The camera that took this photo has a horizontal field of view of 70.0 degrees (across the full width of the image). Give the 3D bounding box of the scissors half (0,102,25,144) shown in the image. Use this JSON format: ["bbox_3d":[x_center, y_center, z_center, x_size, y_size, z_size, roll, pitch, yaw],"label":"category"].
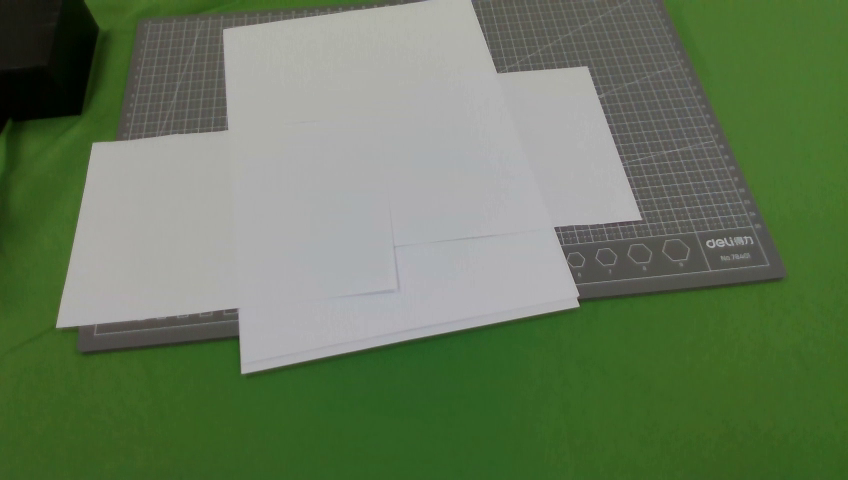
[{"bbox_3d":[-0.307,-0.045,0.421,0.013,0.040,0.173,-9,50,0],"label":"scissors half"}]

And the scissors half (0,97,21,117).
[{"bbox_3d":[-0.308,-0.059,0.408,0.013,0.040,0.173,-6,36,-4],"label":"scissors half"}]
